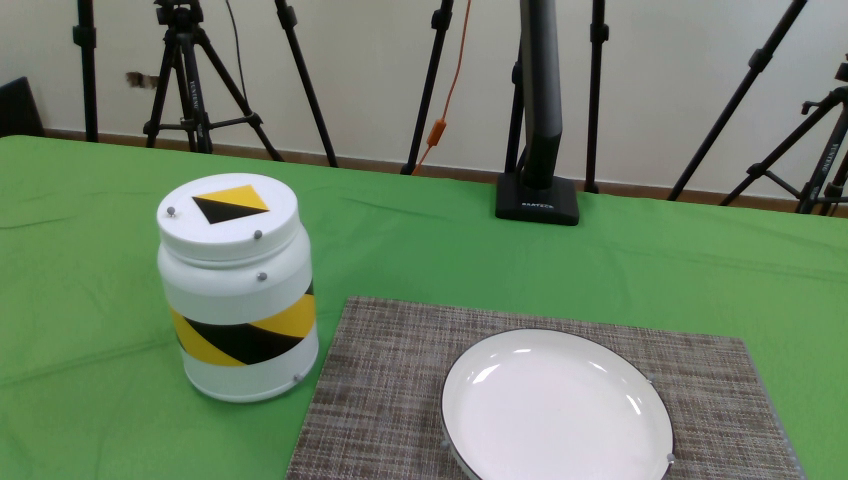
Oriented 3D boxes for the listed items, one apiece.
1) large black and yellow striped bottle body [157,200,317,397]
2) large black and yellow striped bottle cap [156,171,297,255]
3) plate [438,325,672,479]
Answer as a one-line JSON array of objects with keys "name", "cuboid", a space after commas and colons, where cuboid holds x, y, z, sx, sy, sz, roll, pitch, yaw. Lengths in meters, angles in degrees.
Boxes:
[{"name": "large black and yellow striped bottle body", "cuboid": [-0.172, 0.042, 0.572, 0.131, 0.185, 0.129, 2, 36, -1]}, {"name": "large black and yellow striped bottle cap", "cuboid": [-0.169, -0.026, 0.523, 0.115, 0.019, 0.114, 4, 34, -2]}, {"name": "plate", "cuboid": [0.115, 0.162, 0.552, 0.208, 0.039, 0.205, 3, 36, -2]}]
